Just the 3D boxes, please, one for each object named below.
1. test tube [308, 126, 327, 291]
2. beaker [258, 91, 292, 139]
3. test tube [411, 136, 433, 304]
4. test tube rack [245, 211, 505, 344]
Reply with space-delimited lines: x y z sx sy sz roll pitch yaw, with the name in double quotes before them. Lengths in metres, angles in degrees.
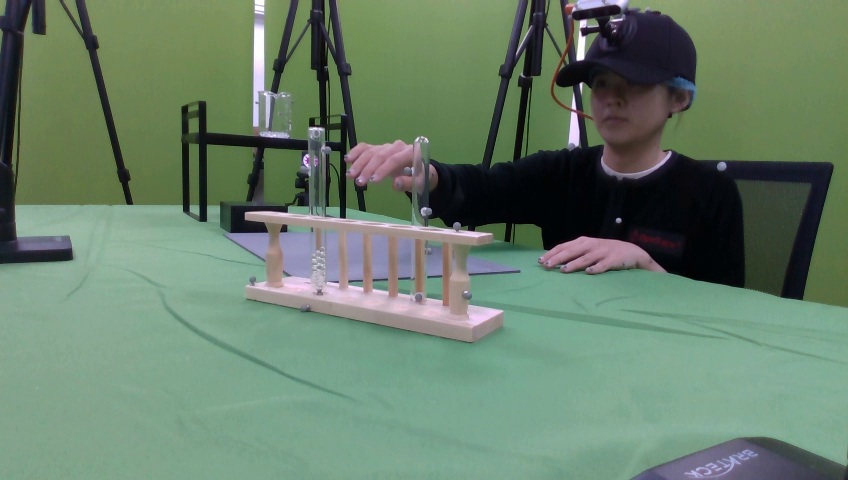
"test tube" -0.096 -0.028 0.549 0.017 0.150 0.017 1 7 0
"beaker" -0.331 -0.276 1.343 0.074 0.100 0.083 0 8 -20
"test tube" -0.002 -0.017 0.538 0.017 0.150 0.017 2 7 0
"test tube rack" -0.049 0.025 0.547 0.241 0.085 0.067 7 8 28
